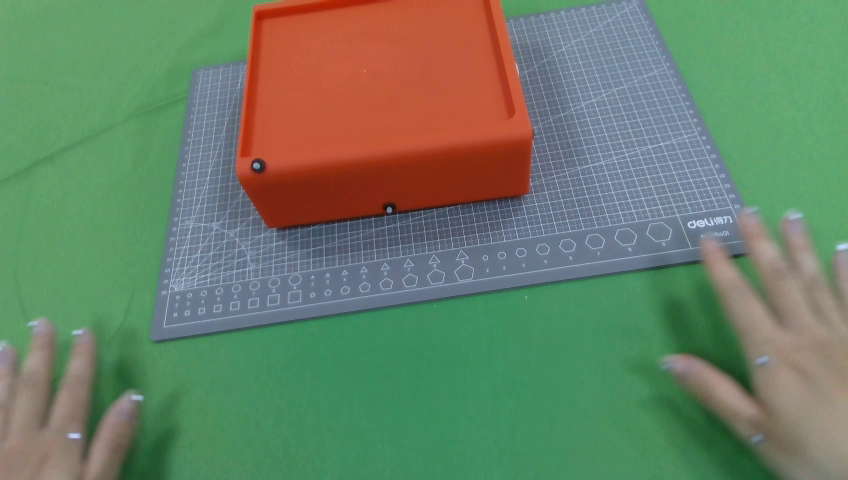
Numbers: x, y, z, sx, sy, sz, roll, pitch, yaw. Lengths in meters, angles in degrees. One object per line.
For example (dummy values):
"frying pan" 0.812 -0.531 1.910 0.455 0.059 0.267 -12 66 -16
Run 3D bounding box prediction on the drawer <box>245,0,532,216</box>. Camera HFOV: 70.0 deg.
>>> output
"drawer" -0.029 -0.126 0.500 0.212 0.074 0.192 -8 58 3

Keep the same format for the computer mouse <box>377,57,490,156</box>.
"computer mouse" 0.009 -0.118 0.505 0.062 0.041 0.116 12 52 24

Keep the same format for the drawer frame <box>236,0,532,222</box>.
"drawer frame" -0.031 -0.125 0.499 0.213 0.083 0.199 -9 58 3
